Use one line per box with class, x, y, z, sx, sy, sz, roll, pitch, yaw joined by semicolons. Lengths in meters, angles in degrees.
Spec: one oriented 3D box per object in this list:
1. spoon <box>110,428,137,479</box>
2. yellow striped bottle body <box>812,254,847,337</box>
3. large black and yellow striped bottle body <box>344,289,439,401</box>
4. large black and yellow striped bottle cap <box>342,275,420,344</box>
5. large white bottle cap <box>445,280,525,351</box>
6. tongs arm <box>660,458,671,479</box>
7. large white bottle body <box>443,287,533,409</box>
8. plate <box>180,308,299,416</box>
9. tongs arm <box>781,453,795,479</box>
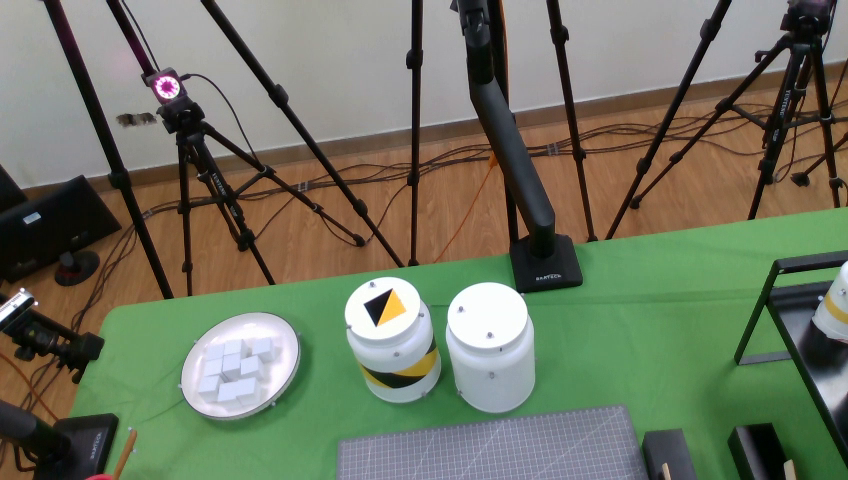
spoon;-0.454;0.360;0.884;0.041;0.022;0.194;30;104;35
yellow striped bottle body;0.522;0.059;0.731;0.063;0.121;0.062;-5;48;6
large black and yellow striped bottle body;-0.051;0.157;0.958;0.130;0.186;0.129;-5;48;6
large black and yellow striped bottle cap;-0.064;0.101;0.897;0.115;0.019;0.114;-4;49;6
large white bottle cap;0.087;0.105;0.862;0.115;0.018;0.113;-5;48;6
tongs arm;0.351;0.447;0.697;0.051;0.027;0.381;-7;57;4
large white bottle body;0.099;0.161;0.924;0.130;0.186;0.129;-5;48;7
plate;-0.317;0.215;1.059;0.207;0.039;0.205;-5;49;6
tongs arm;0.432;0.441;0.686;0.028;0.028;0.384;6;60;8
